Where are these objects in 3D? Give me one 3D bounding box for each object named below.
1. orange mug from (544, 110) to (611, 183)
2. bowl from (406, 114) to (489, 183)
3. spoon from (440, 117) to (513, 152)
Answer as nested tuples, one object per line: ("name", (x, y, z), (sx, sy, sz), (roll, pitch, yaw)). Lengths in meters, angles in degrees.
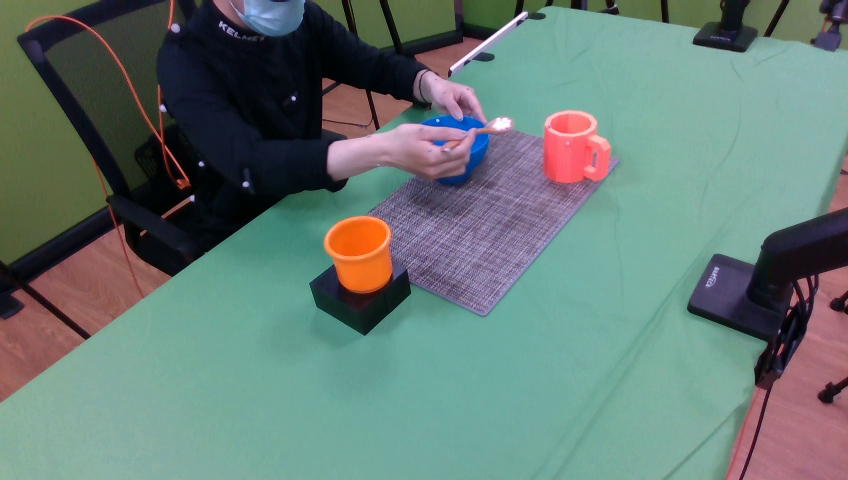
("orange mug", (0.266, -0.157, 1.049), (0.084, 0.101, 0.125), (-33, 42, -26))
("bowl", (0.045, -0.157, 1.096), (0.151, 0.077, 0.150), (-4, 41, 4))
("spoon", (0.080, -0.164, 0.926), (0.041, 0.021, 0.195), (26, 32, 28))
